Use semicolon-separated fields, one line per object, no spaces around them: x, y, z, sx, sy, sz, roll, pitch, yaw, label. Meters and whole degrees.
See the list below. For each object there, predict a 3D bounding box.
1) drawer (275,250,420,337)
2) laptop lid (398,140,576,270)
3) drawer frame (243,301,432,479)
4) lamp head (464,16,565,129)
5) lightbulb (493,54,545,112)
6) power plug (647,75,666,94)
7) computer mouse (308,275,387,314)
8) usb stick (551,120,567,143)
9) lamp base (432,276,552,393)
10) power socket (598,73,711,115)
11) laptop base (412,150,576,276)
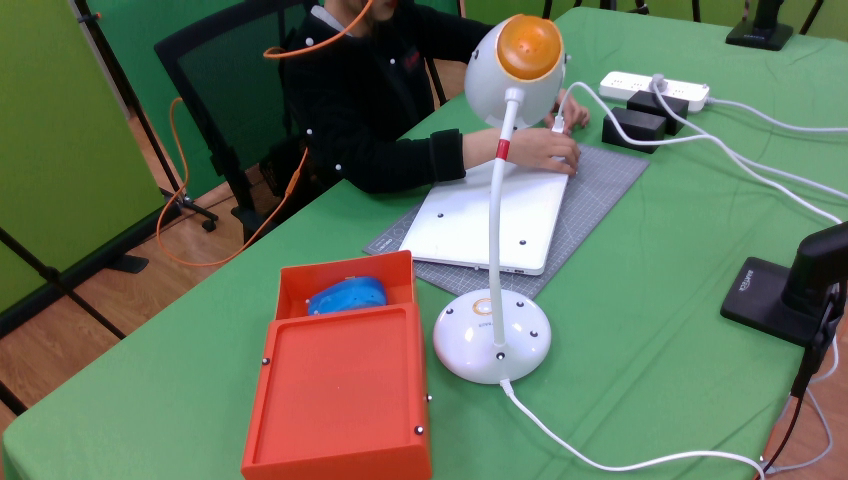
-0.104;0.117;0.825;0.194;0.073;0.210;-8;40;1;drawer
0.120;-0.078;1.042;0.240;0.013;0.356;6;42;21;laptop lid
-0.096;0.185;0.738;0.202;0.083;0.212;-8;40;1;drawer frame
0.101;-0.184;0.655;0.112;0.112;0.123;-9;1;0;lamp head
0.110;-0.181;0.679;0.059;0.059;0.107;-10;-2;-1;lightbulb
0.457;-0.301;1.212;0.073;0.053;0.035;-36;46;-28;power plug
-0.113;0.089;0.881;0.117;0.041;0.062;-16;43;0;computer mouse
0.256;-0.203;1.157;0.021;0.027;0.059;12;49;18;usb stick
0.085;0.075;0.756;0.161;0.181;0.178;-14;44;-6;lamp base
0.470;-0.303;1.248;0.225;0.033;0.072;20;49;30;power socket
0.123;-0.069;1.049;0.234;0.023;0.354;4;42;20;laptop base
